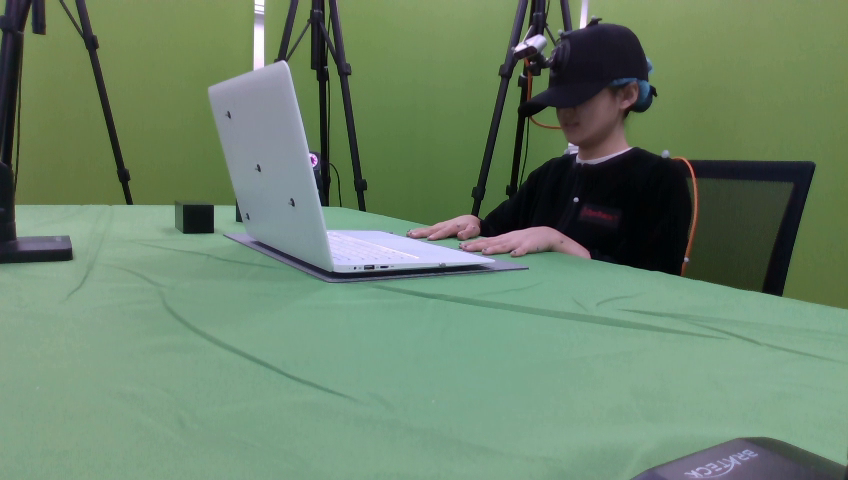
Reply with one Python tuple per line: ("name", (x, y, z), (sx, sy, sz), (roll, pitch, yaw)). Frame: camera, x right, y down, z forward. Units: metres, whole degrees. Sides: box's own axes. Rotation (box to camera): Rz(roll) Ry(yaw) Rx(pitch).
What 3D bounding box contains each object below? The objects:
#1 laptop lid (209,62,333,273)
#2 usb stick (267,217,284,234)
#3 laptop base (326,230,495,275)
("laptop lid", (-0.213, -0.095, 0.790), (0.013, 0.241, 0.355), (-18, 18, -29))
("usb stick", (-0.263, -0.025, 1.079), (0.021, 0.027, 0.059), (-1, 11, -28))
("laptop base", (-0.093, 0.015, 0.884), (0.237, 0.023, 0.352), (3, 6, -32))
